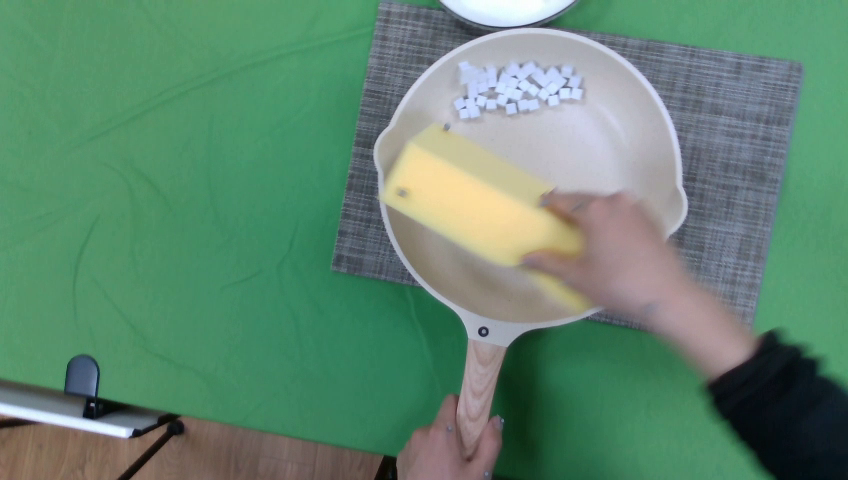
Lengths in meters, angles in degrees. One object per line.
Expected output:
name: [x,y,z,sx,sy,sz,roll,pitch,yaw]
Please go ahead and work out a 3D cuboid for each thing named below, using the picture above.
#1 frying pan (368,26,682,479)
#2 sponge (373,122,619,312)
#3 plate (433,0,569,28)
frying pan: [0.072,0.039,0.604,0.306,0.103,0.486,13,83,7]
sponge: [0.069,-0.028,0.559,0.207,0.118,0.061,29,111,0]
plate: [0.084,-0.324,0.638,0.207,0.039,0.207,0,91,6]
